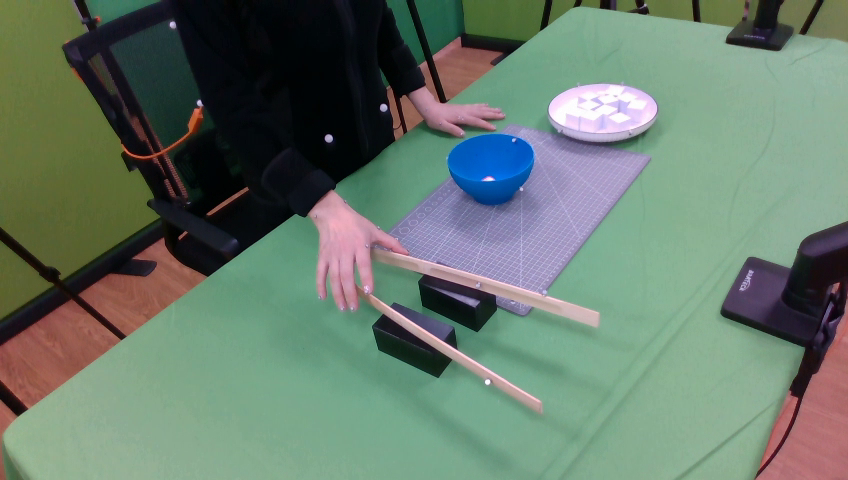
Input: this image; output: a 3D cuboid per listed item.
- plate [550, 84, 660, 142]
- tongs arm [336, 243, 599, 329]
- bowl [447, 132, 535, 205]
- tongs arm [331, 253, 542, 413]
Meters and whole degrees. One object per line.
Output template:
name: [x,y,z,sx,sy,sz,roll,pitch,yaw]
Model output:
plate: [0.355,-0.246,1.195,0.207,0.039,0.206,-5,39,5]
tongs arm: [0.043,0.063,0.823,0.382,0.026,0.051,17,48,28]
bowl: [0.119,-0.114,1.051,0.151,0.077,0.150,-6,40,5]
tongs arm: [-0.005,0.108,0.777,0.384,0.028,0.028,29,57,37]
